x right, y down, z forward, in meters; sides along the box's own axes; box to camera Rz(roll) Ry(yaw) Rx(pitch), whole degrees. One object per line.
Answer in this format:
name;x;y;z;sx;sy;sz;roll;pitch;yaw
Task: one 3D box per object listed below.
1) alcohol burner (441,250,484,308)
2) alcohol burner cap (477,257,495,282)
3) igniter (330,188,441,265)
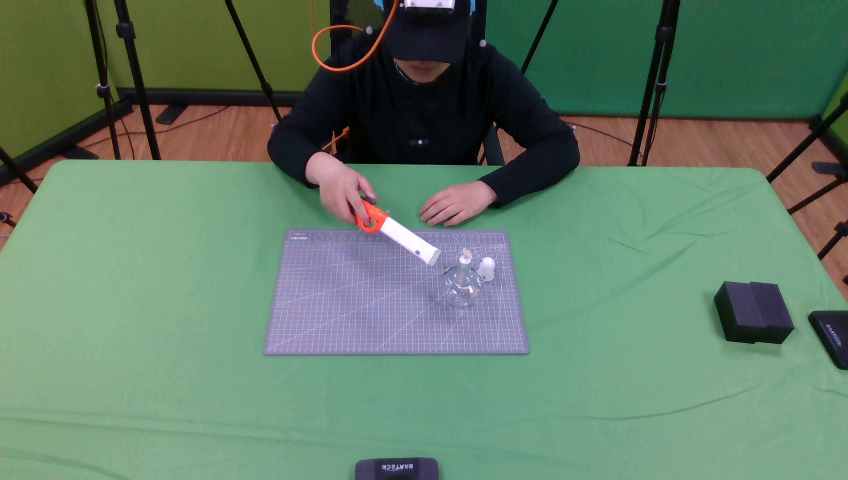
alcohol burner;0.069;0.064;1.075;0.078;0.120;0.077;1;45;-1
alcohol burner cap;0.118;0.053;1.140;0.034;0.048;0.033;2;45;-2
igniter;-0.076;-0.031;1.079;0.275;0.025;0.057;32;95;36
